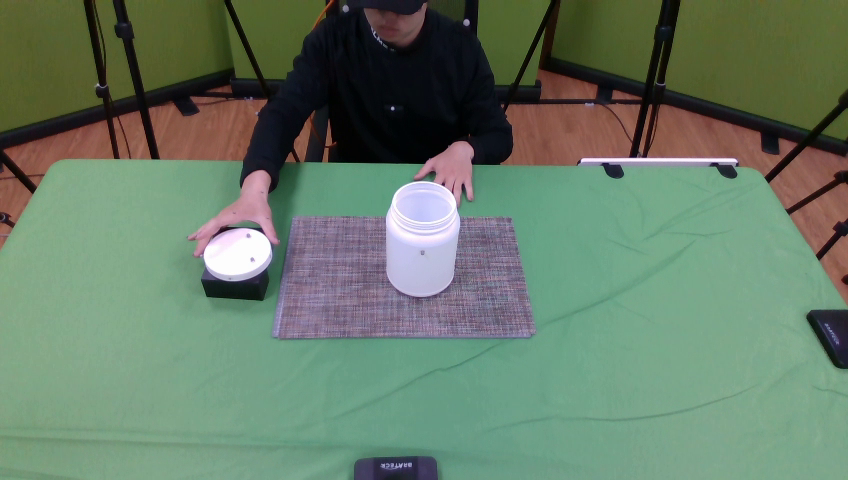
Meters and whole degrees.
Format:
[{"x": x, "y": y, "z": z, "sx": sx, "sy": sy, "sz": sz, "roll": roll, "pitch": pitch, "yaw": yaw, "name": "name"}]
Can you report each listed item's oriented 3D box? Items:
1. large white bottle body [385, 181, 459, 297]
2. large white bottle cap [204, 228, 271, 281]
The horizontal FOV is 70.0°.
[{"x": -0.004, "y": -0.003, "z": 1.083, "sx": 0.131, "sy": 0.185, "sz": 0.130, "roll": 2, "pitch": 46, "yaw": -1, "name": "large white bottle body"}, {"x": -0.332, "y": 0.025, "z": 1.083, "sx": 0.115, "sy": 0.018, "sz": 0.114, "roll": 2, "pitch": 46, "yaw": -2, "name": "large white bottle cap"}]
